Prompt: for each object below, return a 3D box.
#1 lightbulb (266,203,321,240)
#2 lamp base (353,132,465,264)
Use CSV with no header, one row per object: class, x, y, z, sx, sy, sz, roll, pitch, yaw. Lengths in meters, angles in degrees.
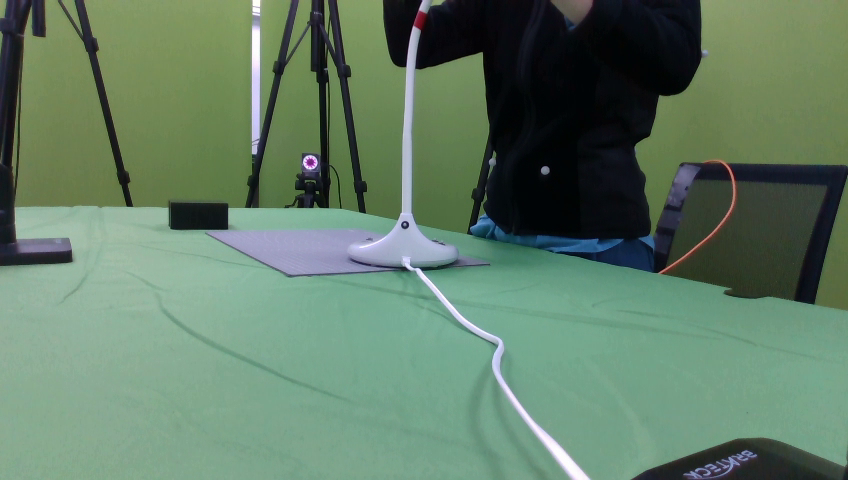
lightbulb,-0.224,-0.026,1.032,0.059,0.059,0.108,8,24,37
lamp base,-0.014,-0.062,0.851,0.161,0.180,0.178,-1,11,-20
